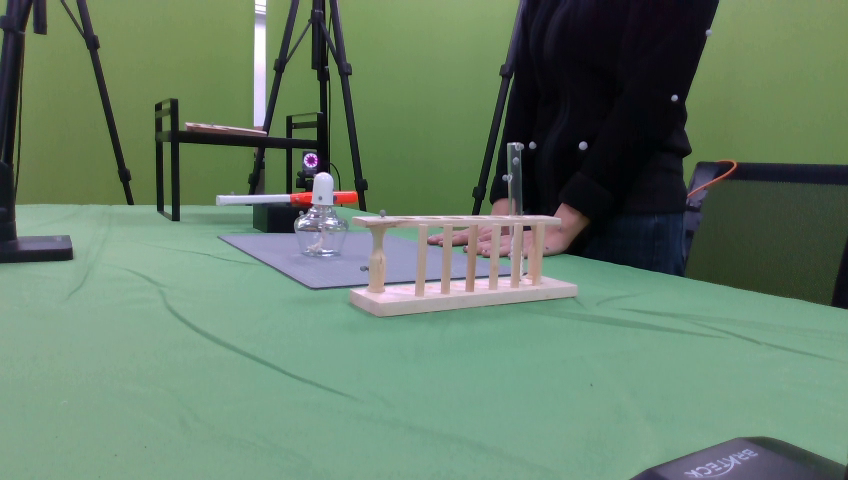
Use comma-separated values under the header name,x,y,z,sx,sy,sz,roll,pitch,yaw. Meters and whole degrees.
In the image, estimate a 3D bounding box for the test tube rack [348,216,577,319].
name,x,y,z,sx,sy,sz,roll,pitch,yaw
test tube rack,0.048,0.021,0.619,0.244,0.085,0.066,-2,9,-31

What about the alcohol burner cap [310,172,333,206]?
name,x,y,z,sx,sy,sz,roll,pitch,yaw
alcohol burner cap,-0.144,-0.071,0.854,0.034,0.048,0.034,4,9,0

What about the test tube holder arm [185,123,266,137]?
name,x,y,z,sx,sy,sz,roll,pitch,yaw
test tube holder arm,-0.433,-0.242,1.333,0.179,0.015,0.013,-3,48,-42

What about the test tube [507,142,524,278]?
name,x,y,z,sx,sy,sz,roll,pitch,yaw
test tube,0.101,-0.032,0.666,0.017,0.150,0.017,-2,6,1

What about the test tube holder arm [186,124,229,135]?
name,x,y,z,sx,sy,sz,roll,pitch,yaw
test tube holder arm,-0.465,-0.236,1.300,0.088,0.015,0.010,-2,47,-41

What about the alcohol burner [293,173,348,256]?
name,x,y,z,sx,sy,sz,roll,pitch,yaw
alcohol burner,-0.147,-0.036,0.859,0.078,0.119,0.078,4,8,0

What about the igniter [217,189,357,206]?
name,x,y,z,sx,sy,sz,roll,pitch,yaw
igniter,-0.251,-0.081,1.155,0.278,0.025,0.057,-5,8,-32
